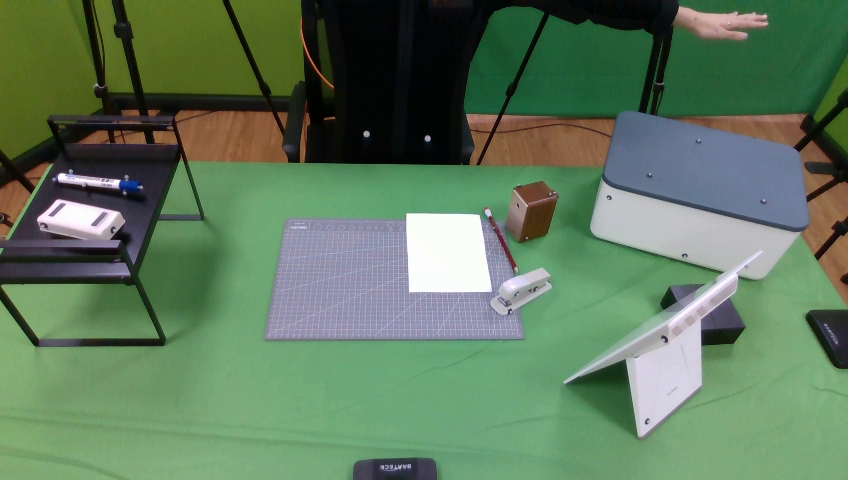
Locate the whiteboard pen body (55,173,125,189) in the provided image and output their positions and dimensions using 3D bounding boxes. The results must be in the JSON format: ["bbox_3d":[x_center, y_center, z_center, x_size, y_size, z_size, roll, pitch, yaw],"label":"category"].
[{"bbox_3d":[-0.539,-0.095,0.998,0.141,0.017,0.017,6,46,6],"label":"whiteboard pen body"}]

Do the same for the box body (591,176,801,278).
[{"bbox_3d":[0.540,-0.092,1.230,0.363,0.161,0.253,16,47,11],"label":"box body"}]

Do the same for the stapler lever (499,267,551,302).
[{"bbox_3d":[0.185,0.076,1.101,0.118,0.040,0.026,-25,56,-29],"label":"stapler lever"}]

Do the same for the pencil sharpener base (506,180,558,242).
[{"bbox_3d":[0.216,-0.059,1.211,0.077,0.107,0.061,-16,49,-19],"label":"pencil sharpener base"}]

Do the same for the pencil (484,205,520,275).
[{"bbox_3d":[0.156,-0.002,1.218,0.012,0.012,0.192,-10,48,-13],"label":"pencil"}]

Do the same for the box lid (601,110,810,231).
[{"bbox_3d":[0.545,-0.144,1.176,0.371,0.015,0.262,15,47,12],"label":"box lid"}]

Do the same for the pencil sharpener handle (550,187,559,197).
[{"bbox_3d":[0.261,-0.085,1.222,0.031,0.068,0.036,-16,70,-19],"label":"pencil sharpener handle"}]

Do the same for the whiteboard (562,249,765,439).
[{"bbox_3d":[0.386,0.176,0.905,0.217,0.306,0.143,-26,72,-26],"label":"whiteboard"}]

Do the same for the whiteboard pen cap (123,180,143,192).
[{"bbox_3d":[-0.479,-0.089,0.993,0.033,0.018,0.018,7,46,14],"label":"whiteboard pen cap"}]

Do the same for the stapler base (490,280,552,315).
[{"bbox_3d":[0.181,0.094,1.118,0.130,0.024,0.041,-24,56,-29],"label":"stapler base"}]

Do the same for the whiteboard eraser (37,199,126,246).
[{"bbox_3d":[-0.518,-0.025,0.918,0.112,0.042,0.055,12,49,7],"label":"whiteboard eraser"}]
